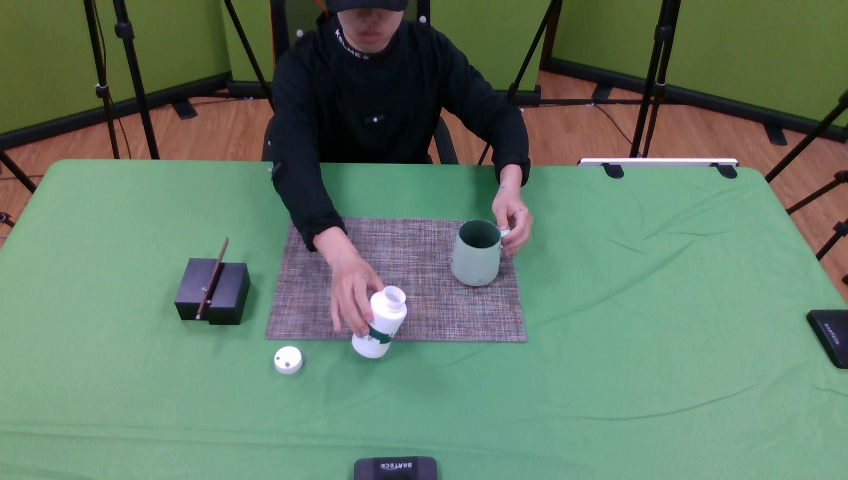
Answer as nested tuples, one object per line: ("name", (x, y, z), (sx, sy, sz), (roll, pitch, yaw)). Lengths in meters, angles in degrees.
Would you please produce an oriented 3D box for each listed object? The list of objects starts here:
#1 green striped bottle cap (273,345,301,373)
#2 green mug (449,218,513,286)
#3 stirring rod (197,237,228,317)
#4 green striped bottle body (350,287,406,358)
("green striped bottle cap", (-0.225, 0.195, 0.997), (0.044, 0.020, 0.044), (1, 50, -1))
("green mug", (0.110, 0.018, 1.126), (0.125, 0.105, 0.092), (-19, 50, -21))
("stirring rod", (-0.363, 0.060, 1.047), (0.006, 0.014, 0.175), (7, 46, -3))
("green striped bottle body", (-0.070, 0.130, 0.974), (0.063, 0.119, 0.063), (20, 34, -14))
